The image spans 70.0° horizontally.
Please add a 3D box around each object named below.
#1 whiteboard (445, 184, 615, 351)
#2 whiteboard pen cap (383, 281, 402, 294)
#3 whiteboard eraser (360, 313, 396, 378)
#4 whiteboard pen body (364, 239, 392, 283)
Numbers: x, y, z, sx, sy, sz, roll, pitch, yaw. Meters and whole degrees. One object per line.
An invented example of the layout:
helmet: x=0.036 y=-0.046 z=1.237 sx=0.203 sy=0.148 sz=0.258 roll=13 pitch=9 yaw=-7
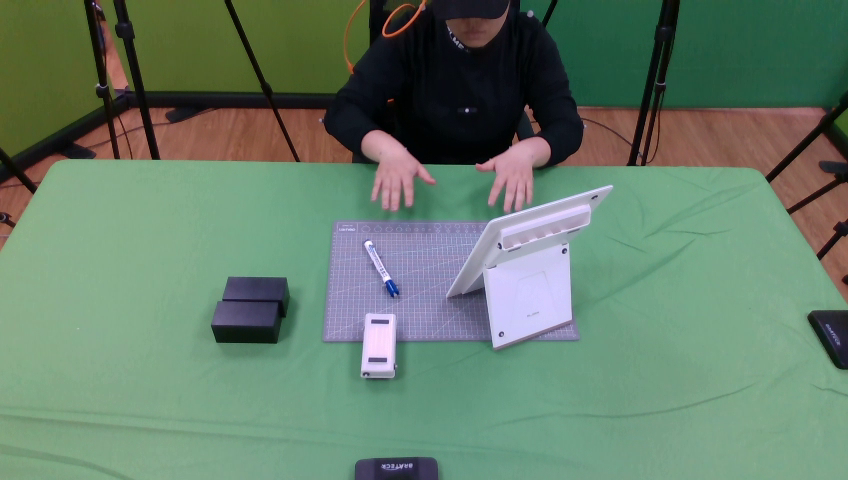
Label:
whiteboard: x=0.186 y=0.065 z=0.989 sx=0.217 sy=0.306 sz=0.143 roll=-15 pitch=68 yaw=-18
whiteboard pen cap: x=-0.057 y=0.088 z=1.104 sx=0.033 sy=0.018 sz=0.018 roll=18 pitch=48 yaw=11
whiteboard eraser: x=-0.075 y=0.176 z=1.006 sx=0.055 sy=0.042 sz=0.112 roll=3 pitch=50 yaw=-4
whiteboard pen body: x=-0.084 y=0.048 z=1.143 sx=0.017 sy=0.017 sz=0.140 roll=-16 pitch=49 yaw=-19
